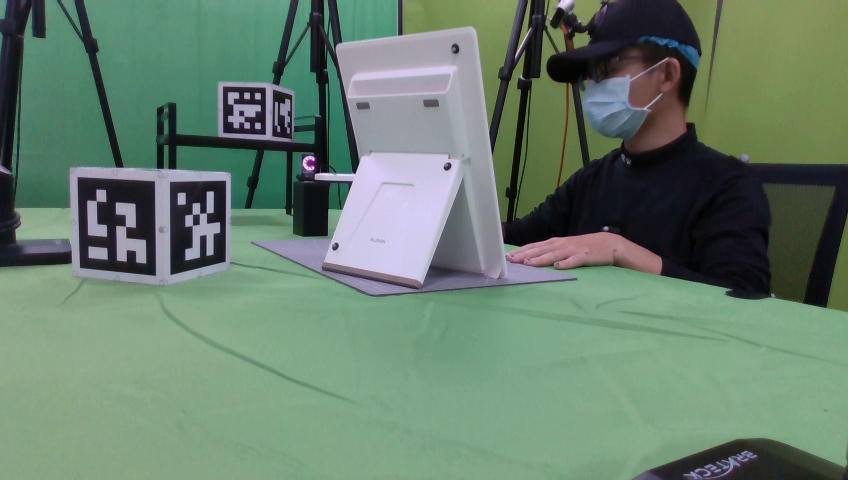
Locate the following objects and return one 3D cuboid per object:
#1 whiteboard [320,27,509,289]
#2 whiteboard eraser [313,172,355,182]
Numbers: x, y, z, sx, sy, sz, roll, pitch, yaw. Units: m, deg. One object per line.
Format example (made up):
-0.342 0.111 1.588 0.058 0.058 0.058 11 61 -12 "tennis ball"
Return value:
-0.045 -0.076 0.721 0.216 0.305 0.144 9 29 39 "whiteboard"
-0.163 -0.121 1.158 0.102 0.019 0.041 -1 6 -33 "whiteboard eraser"
